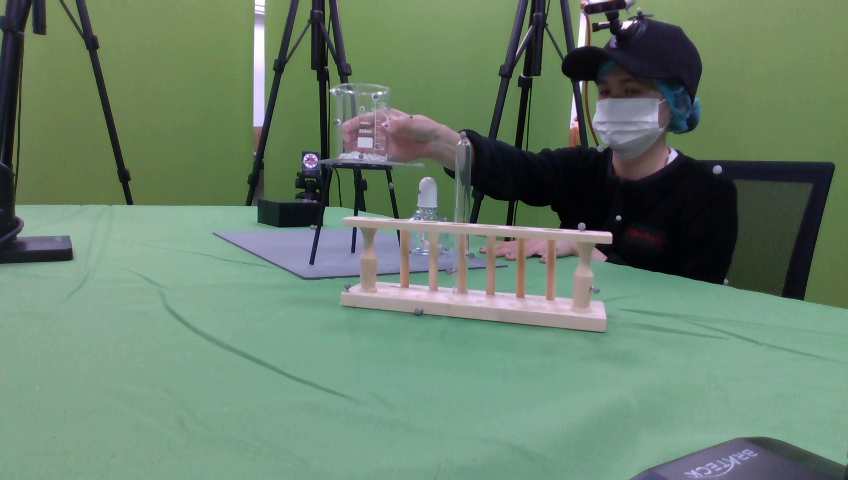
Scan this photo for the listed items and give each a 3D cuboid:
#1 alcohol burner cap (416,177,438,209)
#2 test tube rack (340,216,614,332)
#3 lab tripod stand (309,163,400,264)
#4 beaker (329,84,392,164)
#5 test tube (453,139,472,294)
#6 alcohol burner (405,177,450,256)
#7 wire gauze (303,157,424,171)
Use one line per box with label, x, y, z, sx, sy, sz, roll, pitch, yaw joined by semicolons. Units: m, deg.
alcohol burner cap;0.005;-0.072;0.914;0.034;0.048;0.034;3;9;0
test tube rack;0.048;0.026;0.568;0.242;0.085;0.067;4;8;13
lab tripod stand;-0.091;-0.037;0.813;0.148;0.131;0.148;1;6;0
beaker;-0.084;-0.150;0.794;0.084;0.100;0.073;-2;6;-25
test tube;0.037;-0.021;0.584;0.017;0.150;0.017;1;7;0
alcohol burner;0.004;-0.036;0.917;0.078;0.119;0.078;3;5;0
wire gauze;-0.082;-0.101;0.799;0.126;0.011;0.121;1;6;-30
